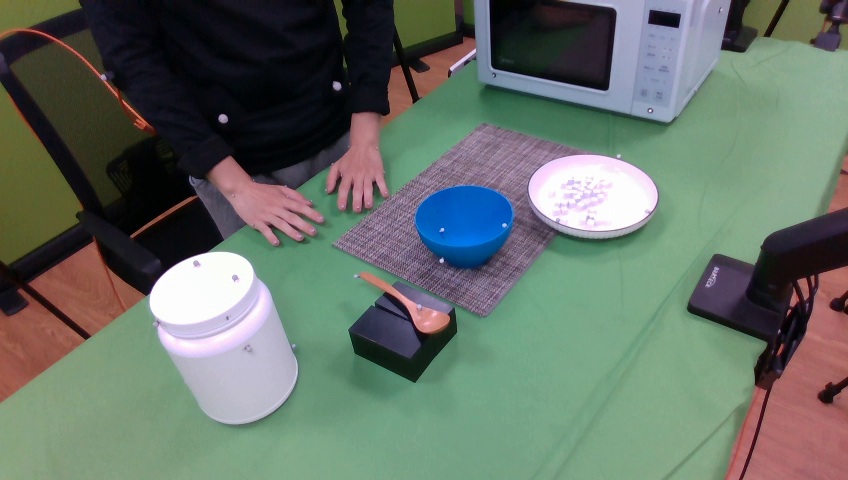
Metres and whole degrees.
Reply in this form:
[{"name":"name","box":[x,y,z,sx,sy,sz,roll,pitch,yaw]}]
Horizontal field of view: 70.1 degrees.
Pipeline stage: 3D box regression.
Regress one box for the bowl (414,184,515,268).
[{"name":"bowl","box":[0.063,-0.010,0.922,0.151,0.077,0.150,-4,40,4]}]

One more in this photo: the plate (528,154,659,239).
[{"name":"plate","box":[0.274,-0.069,0.993,0.209,0.038,0.208,-2,42,2]}]

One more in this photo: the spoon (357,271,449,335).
[{"name":"spoon","box":[-0.034,0.078,0.812,0.042,0.022,0.192,-35,43,-23]}]

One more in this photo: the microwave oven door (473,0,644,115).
[{"name":"microwave oven door","box":[0.257,-0.396,1.199,0.353,0.245,0.039,21,48,29]}]

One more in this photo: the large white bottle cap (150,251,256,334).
[{"name":"large white bottle cap","box":[-0.248,0.056,0.680,0.115,0.018,0.114,-4,41,4]}]

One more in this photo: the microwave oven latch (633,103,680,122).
[{"name":"microwave oven latch","box":[0.443,-0.249,1.157,0.078,0.029,0.030,20,48,30]}]

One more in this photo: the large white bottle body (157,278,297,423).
[{"name":"large white bottle body","box":[-0.239,0.120,0.735,0.130,0.185,0.130,-4,41,4]}]

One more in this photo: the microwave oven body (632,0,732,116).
[{"name":"microwave oven body","box":[0.377,-0.462,1.267,0.438,0.261,0.327,21,48,30]}]
